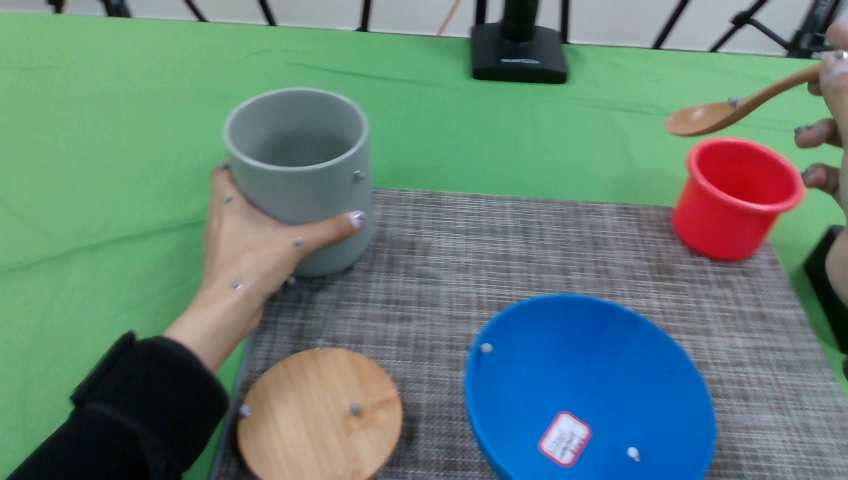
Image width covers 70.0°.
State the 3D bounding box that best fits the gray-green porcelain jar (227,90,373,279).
[{"bbox_3d":[-0.094,-0.040,0.493,0.106,0.127,0.105,2,46,-2],"label":"gray-green porcelain jar"}]

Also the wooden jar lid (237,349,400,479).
[{"bbox_3d":[-0.071,0.125,0.413,0.108,0.021,0.107,2,46,-1],"label":"wooden jar lid"}]

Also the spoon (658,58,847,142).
[{"bbox_3d":[0.218,-0.088,0.356,0.041,0.193,0.022,-39,99,-23],"label":"spoon"}]

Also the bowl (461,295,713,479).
[{"bbox_3d":[0.096,0.118,0.392,0.151,0.077,0.150,2,47,-2],"label":"bowl"}]
